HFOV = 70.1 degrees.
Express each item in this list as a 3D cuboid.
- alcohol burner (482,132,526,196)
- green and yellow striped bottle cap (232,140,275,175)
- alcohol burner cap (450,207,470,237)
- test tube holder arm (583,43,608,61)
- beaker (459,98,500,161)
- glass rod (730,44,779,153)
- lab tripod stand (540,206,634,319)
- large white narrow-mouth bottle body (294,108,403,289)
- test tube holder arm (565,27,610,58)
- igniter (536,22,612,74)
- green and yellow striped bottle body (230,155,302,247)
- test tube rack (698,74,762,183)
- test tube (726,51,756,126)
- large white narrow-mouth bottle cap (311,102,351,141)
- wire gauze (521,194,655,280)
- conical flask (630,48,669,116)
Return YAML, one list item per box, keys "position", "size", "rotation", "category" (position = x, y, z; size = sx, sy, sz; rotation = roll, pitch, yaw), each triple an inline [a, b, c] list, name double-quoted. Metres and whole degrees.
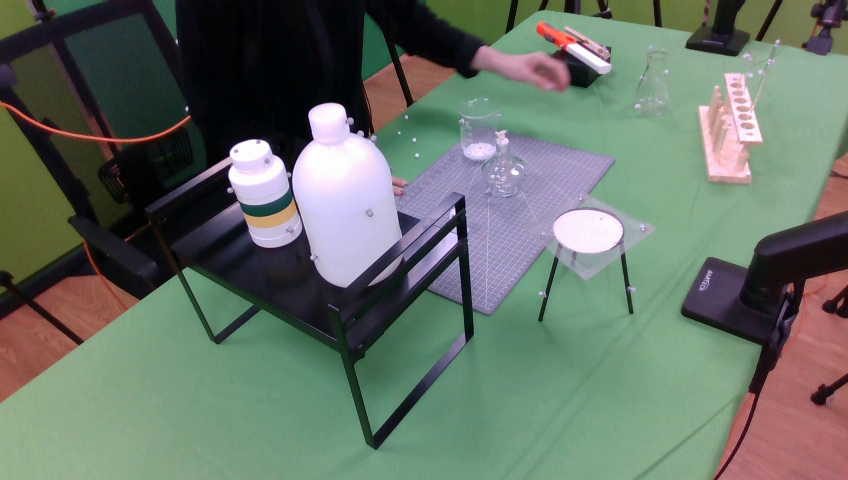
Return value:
- position: [0.137, -0.136, 1.042]
  size: [0.078, 0.119, 0.077]
  rotation: [-4, 43, 4]
  category: "alcohol burner"
- position: [-0.192, -0.094, 0.680]
  size: [0.045, 0.020, 0.045]
  rotation: [-5, 39, 5]
  category: "green and yellow striped bottle cap"
- position: [0.057, -0.032, 0.987]
  size: [0.034, 0.048, 0.033]
  rotation: [-4, 41, 4]
  category: "alcohol burner cap"
- position: [0.379, -0.420, 1.341]
  size: [0.010, 0.015, 0.087]
  rotation: [-39, 41, 10]
  category: "test tube holder arm"
- position: [0.104, -0.208, 1.142]
  size: [0.074, 0.101, 0.083]
  rotation: [-20, 42, -15]
  category: "beaker"
- position: [0.555, -0.233, 1.020]
  size: [0.008, 0.200, 0.008]
  rotation: [2, 39, -1]
  category: "glass rod"
- position: [0.218, 0.034, 0.821]
  size: [0.148, 0.132, 0.147]
  rotation: [-4, 42, 4]
  category: "lab tripod stand"
- position: [-0.082, -0.047, 0.634]
  size: [0.102, 0.195, 0.101]
  rotation: [-4, 40, 4]
  category: "large white narrow-mouth bottle body"
- position: [0.369, -0.450, 1.373]
  size: [0.013, 0.015, 0.177]
  rotation: [-39, 41, 10]
  category: "test tube holder arm"
- position: [0.330, -0.439, 1.366]
  size: [0.057, 0.025, 0.274]
  rotation: [-11, 41, -20]
  category: "igniter"
- position: [-0.188, -0.055, 0.714]
  size: [0.063, 0.120, 0.063]
  rotation: [-4, 41, 4]
  category: "green and yellow striped bottle body"
- position: [0.547, -0.208, 1.095]
  size: [0.066, 0.085, 0.242]
  rotation: [5, 42, 15]
  category: "test tube rack"
- position: [0.568, -0.268, 1.086]
  size: [0.017, 0.151, 0.017]
  rotation: [-4, 46, 4]
  category: "test tube"
- position: [-0.089, -0.114, 0.579]
  size: [0.038, 0.024, 0.037]
  rotation: [-4, 40, 3]
  category: "large white narrow-mouth bottle cap"
- position: [0.207, -0.012, 0.772]
  size: [0.122, 0.011, 0.124]
  rotation: [-28, 44, -20]
  category: "wire gauze"
- position: [0.456, -0.317, 1.205]
  size: [0.075, 0.122, 0.075]
  rotation: [-4, 41, 4]
  category: "conical flask"
